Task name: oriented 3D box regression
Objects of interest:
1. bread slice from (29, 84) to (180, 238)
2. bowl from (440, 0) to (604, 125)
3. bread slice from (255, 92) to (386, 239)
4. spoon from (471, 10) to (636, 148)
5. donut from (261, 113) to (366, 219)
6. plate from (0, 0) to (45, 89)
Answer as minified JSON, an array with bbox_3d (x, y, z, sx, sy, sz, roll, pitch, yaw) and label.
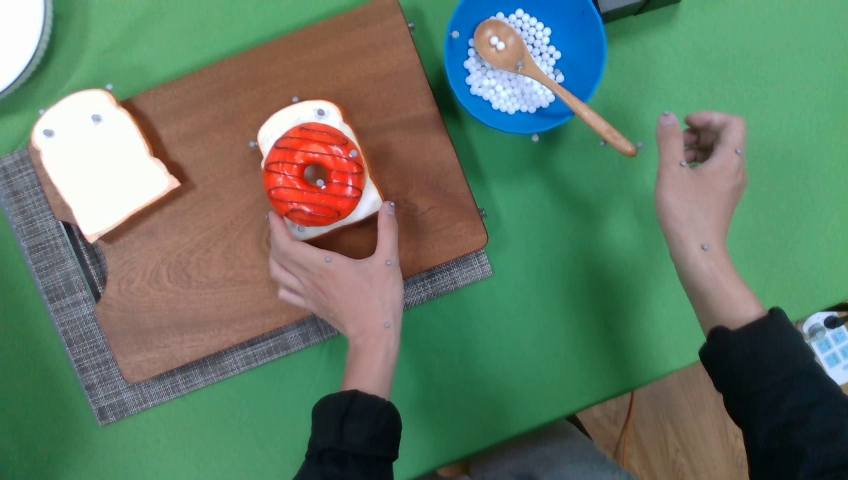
[{"bbox_3d":[-0.321,-0.083,0.596,0.107,0.018,0.134,-36,92,2],"label":"bread slice"},{"bbox_3d":[0.090,-0.182,0.590,0.151,0.076,0.151,0,94,0],"label":"bowl"},{"bbox_3d":[-0.110,-0.077,0.598,0.105,0.019,0.131,-22,95,0],"label":"bread slice"},{"bbox_3d":[0.118,-0.148,0.561,0.041,0.022,0.192,-46,74,2],"label":"spoon"},{"bbox_3d":[-0.104,-0.068,0.569,0.099,0.048,0.099,0,95,0],"label":"donut"},{"bbox_3d":[-0.478,-0.238,0.604,0.208,0.039,0.208,0,94,0],"label":"plate"}]
